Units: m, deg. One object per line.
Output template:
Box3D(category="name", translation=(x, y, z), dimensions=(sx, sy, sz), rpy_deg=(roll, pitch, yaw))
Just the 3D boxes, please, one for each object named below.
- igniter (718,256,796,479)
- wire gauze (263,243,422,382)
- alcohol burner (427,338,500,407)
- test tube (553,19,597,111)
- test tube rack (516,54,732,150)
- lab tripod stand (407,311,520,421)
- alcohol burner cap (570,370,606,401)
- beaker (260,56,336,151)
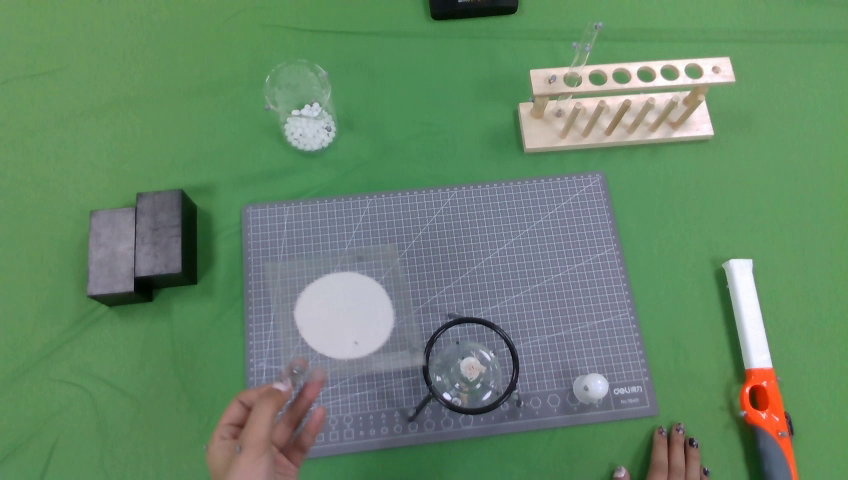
Box3D(category="igniter", translation=(0.373, 0.151, 0.681), dimensions=(0.057, 0.025, 0.274), rpy_deg=(1, 72, -12))
Box3D(category="wire gauze", translation=(-0.074, 0.061, 0.539), dimensions=(0.125, 0.011, 0.120), rpy_deg=(-7, 60, -15))
Box3D(category="alcohol burner", translation=(0.042, 0.136, 0.626), dimensions=(0.078, 0.120, 0.077), rpy_deg=(1, 70, -2))
Box3D(category="test tube", translation=(0.172, -0.197, 0.703), dimensions=(0.017, 0.151, 0.017), rpy_deg=(1, 68, -1))
Box3D(category="test tube rack", translation=(0.244, -0.169, 0.748), dimensions=(0.242, 0.085, 0.066), rpy_deg=(-5, 72, -3))
Box3D(category="lab tripod stand", translation=(0.038, 0.130, 0.617), dimensions=(0.148, 0.132, 0.147), rpy_deg=(0, 71, 0))
Box3D(category="alcohol burner cap", translation=(0.181, 0.158, 0.661), dimensions=(0.034, 0.048, 0.033), rpy_deg=(0, 71, 0))
Box3D(category="beaker", translation=(-0.144, -0.156, 0.723), dimensions=(0.074, 0.101, 0.083), rpy_deg=(-36, 77, -12))
